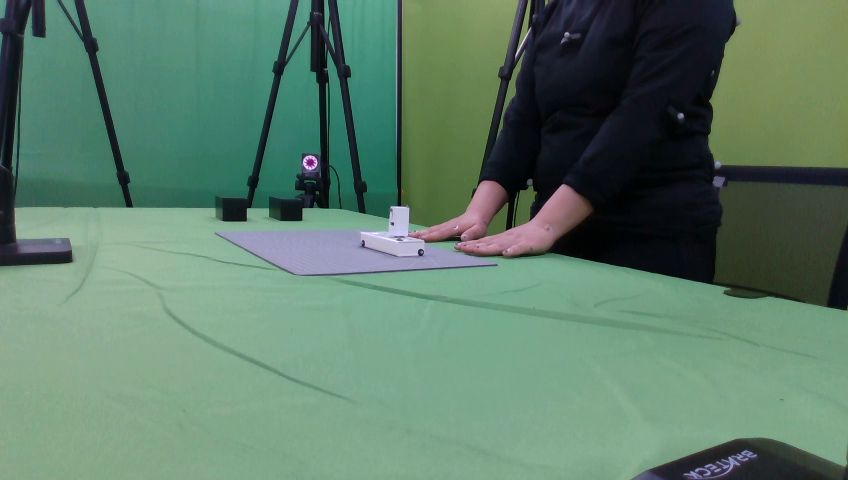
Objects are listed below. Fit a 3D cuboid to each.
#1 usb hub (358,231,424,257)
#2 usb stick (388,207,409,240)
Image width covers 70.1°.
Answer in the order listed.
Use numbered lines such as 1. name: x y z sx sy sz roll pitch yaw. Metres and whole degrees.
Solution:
1. usb hub: -0.054 0.005 0.947 0.050 0.025 0.124 -3 9 -34
2. usb stick: -0.040 -0.021 0.931 0.027 0.059 0.021 -5 12 -37
